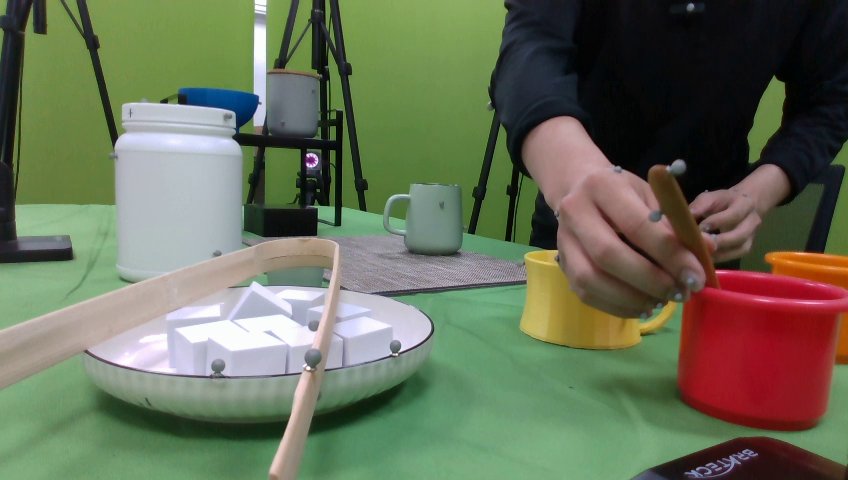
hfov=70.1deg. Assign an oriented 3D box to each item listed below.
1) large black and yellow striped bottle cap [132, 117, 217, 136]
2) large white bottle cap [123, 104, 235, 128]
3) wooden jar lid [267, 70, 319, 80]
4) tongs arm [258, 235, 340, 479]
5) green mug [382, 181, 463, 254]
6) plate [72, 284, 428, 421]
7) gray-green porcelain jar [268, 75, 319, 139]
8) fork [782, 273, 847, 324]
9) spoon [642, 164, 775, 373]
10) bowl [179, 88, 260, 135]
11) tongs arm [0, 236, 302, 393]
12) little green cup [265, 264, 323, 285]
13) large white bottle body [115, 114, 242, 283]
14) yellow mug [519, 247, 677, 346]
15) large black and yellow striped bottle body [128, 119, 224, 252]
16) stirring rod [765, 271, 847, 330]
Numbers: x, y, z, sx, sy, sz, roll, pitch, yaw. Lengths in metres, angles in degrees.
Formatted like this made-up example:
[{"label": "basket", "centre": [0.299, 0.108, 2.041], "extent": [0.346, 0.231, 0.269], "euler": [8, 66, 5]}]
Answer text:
[{"label": "large black and yellow striped bottle cap", "centre": [-0.359, -0.164, 0.875], "extent": [0.115, 0.019, 0.115], "euler": [2, 6, 0]}, {"label": "large white bottle cap", "centre": [-0.266, -0.135, 0.663], "extent": [0.115, 0.018, 0.115], "euler": [3, 8, 0]}, {"label": "wooden jar lid", "centre": [-0.275, -0.339, 1.271], "extent": [0.108, 0.020, 0.108], "euler": [5, 6, 0]}, {"label": "tongs arm", "centre": [-0.074, 0.040, 0.345], "extent": [0.051, 0.026, 0.384], "euler": [-1, 10, -3]}, {"label": "green mug", "centre": [-0.001, -0.036, 0.922], "extent": [0.126, 0.105, 0.092], "euler": [0, 8, -16]}, {"label": "plate", "centre": [-0.102, 0.067, 0.381], "extent": [0.208, 0.039, 0.207], "euler": [2, 7, 0]}, {"label": "gray-green porcelain jar", "centre": [-0.277, -0.278, 1.280], "extent": [0.106, 0.126, 0.106], "euler": [2, 8, 0]}, {"label": "fork", "centre": [0.332, 0.018, 0.443], "extent": [0.028, 0.018, 0.207], "euler": [-3, -35, -16]}, {"label": "spoon", "centre": [0.160, 0.025, 0.345], "extent": [0.041, 0.194, 0.021], "euler": [1, 48, 46]}, {"label": "bowl", "centre": [-0.400, -0.248, 1.188], "extent": [0.151, 0.077, 0.151], "euler": [3, 6, 0]}, {"label": "tongs arm", "centre": [-0.157, 0.038, 0.347], "extent": [0.028, 0.028, 0.388], "euler": [-3, 8, 11]}, {"label": "little green cup", "centre": [-0.134, 0.033, 0.628], "extent": [0.061, 0.038, 0.061], "euler": [3, 7, 0]}, {"label": "large white bottle body", "centre": [-0.270, -0.051, 0.673], "extent": [0.131, 0.184, 0.130], "euler": [2, 8, 0]}, {"label": "yellow mug", "centre": [0.148, 0.045, 0.513], "extent": [0.131, 0.064, 0.100], "euler": [3, 6, 0]}, {"label": "large black and yellow striped bottle body", "centre": [-0.361, -0.081, 0.887], "extent": [0.131, 0.184, 0.130], "euler": [2, 8, 0]}, {"label": "stirring rod", "centre": [0.352, 0.020, 0.481], "extent": [0.176, 0.006, 0.014], "euler": [-40, -7, 17]}]
